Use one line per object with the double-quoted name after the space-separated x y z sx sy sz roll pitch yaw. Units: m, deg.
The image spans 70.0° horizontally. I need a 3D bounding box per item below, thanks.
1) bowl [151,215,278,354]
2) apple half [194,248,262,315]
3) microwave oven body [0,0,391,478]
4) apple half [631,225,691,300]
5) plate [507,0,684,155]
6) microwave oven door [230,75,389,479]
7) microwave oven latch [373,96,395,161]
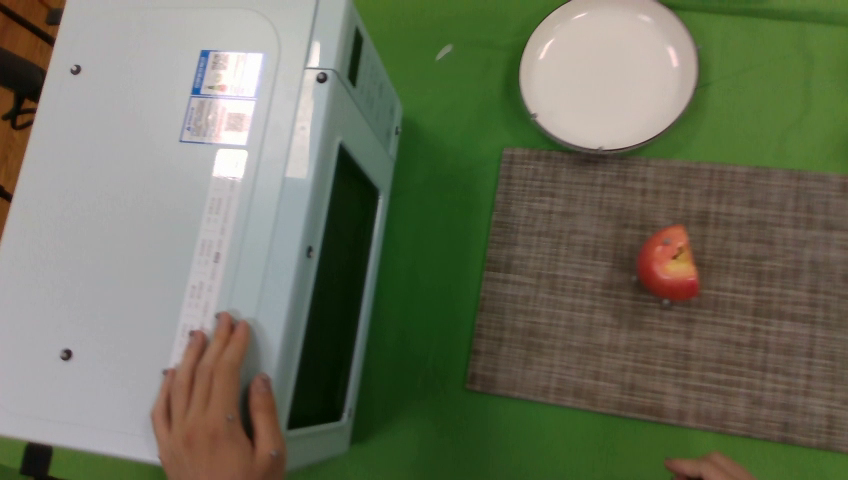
-0.223 0.051 0.691 0.151 0.077 0.151 -1 86 17 "bowl"
-0.224 0.049 0.681 0.081 0.033 0.081 0 90 4 "apple half"
-0.239 -0.004 0.666 0.325 0.262 0.440 5 79 11 "microwave oven body"
0.255 0.028 0.666 0.053 0.075 0.080 -14 78 13 "apple half"
0.208 -0.199 0.749 0.207 0.039 0.206 -2 77 10 "plate"
-0.103 0.048 0.624 0.039 0.245 0.354 5 78 12 "microwave oven door"
-0.054 -0.141 0.764 0.030 0.030 0.079 5 79 11 "microwave oven latch"
